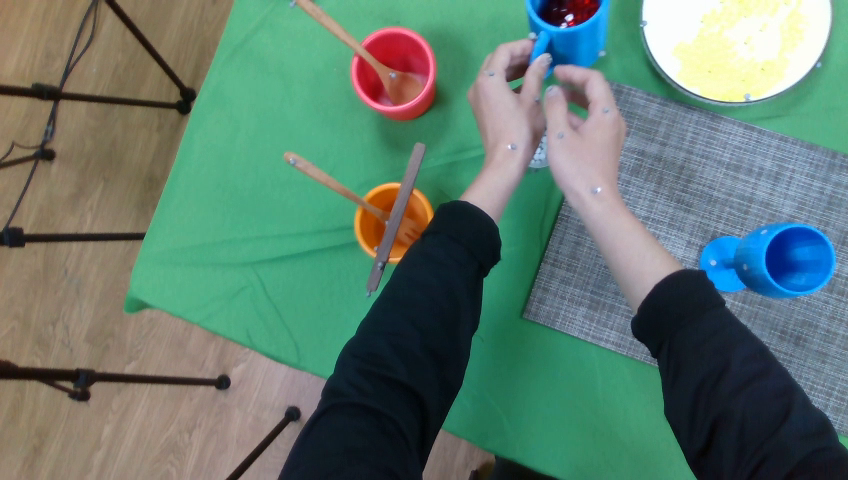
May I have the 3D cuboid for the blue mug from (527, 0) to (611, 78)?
[{"bbox_3d":[0.146,-0.227,0.641,0.082,0.106,0.116,32,92,16],"label":"blue mug"}]

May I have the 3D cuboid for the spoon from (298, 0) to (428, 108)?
[{"bbox_3d":[-0.068,-0.217,0.690,0.196,0.021,0.041,35,94,-36],"label":"spoon"}]

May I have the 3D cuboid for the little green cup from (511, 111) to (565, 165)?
[{"bbox_3d":[0.134,-0.118,0.716,0.061,0.039,0.061,0,88,7],"label":"little green cup"}]

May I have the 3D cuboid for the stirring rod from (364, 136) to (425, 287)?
[{"bbox_3d":[-0.033,-0.031,0.673,0.014,0.006,0.176,19,90,8],"label":"stirring rod"}]

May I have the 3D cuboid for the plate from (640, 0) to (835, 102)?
[{"bbox_3d":[0.352,-0.259,0.696,0.209,0.038,0.209,0,88,7],"label":"plate"}]

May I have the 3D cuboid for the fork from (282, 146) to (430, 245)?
[{"bbox_3d":[-0.071,-0.048,0.681,0.209,0.018,0.028,32,98,-36],"label":"fork"}]

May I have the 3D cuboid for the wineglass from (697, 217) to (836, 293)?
[{"bbox_3d":[0.338,0.017,0.615,0.073,0.172,0.073,0,87,7],"label":"wineglass"}]
